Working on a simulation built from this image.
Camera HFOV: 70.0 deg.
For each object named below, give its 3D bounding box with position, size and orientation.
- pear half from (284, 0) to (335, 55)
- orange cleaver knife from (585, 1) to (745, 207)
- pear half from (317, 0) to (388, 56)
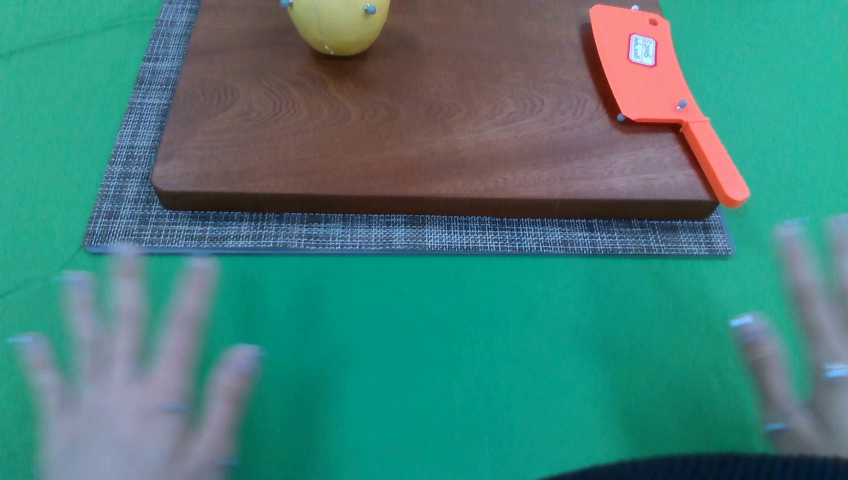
[{"bbox_3d":[-0.076,-0.199,0.449,0.056,0.110,0.076,27,54,13],"label":"pear half"},{"bbox_3d":[0.180,-0.114,0.470,0.077,0.012,0.209,-5,60,-11],"label":"orange cleaver knife"},{"bbox_3d":[-0.047,-0.177,0.449,0.031,0.088,0.070,25,54,13],"label":"pear half"}]
